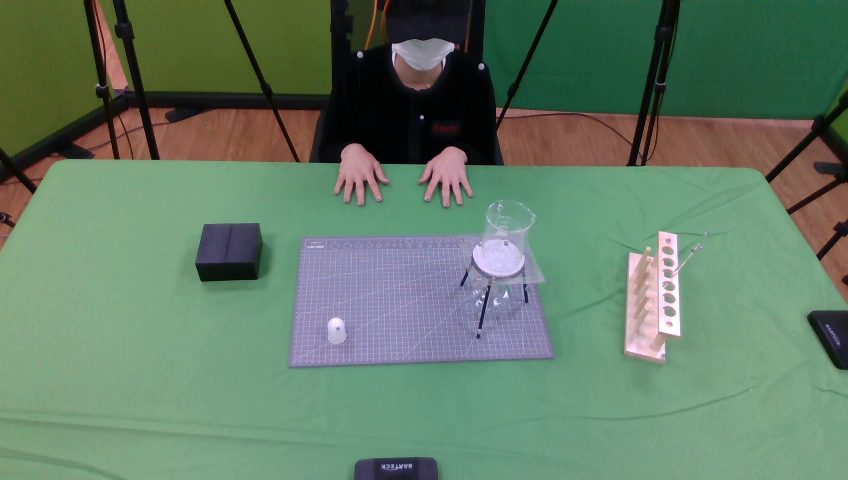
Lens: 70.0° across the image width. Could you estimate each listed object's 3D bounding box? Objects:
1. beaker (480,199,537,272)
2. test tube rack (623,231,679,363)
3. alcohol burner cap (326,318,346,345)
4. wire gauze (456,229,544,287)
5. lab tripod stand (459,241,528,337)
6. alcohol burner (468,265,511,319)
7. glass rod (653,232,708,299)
[{"bbox_3d":[0.132,-0.004,0.973,0.084,0.101,0.073,-4,47,-9],"label":"beaker"},{"bbox_3d":[0.410,0.094,1.096,0.066,0.085,0.241,13,46,9],"label":"test tube rack"},{"bbox_3d":[-0.149,0.151,1.023,0.034,0.048,0.033,2,46,-2],"label":"alcohol burner cap"},{"bbox_3d":[0.125,0.030,1.008,0.125,0.011,0.120,-3,48,-11],"label":"wire gauze"},{"bbox_3d":[0.122,0.075,1.054,0.148,0.132,0.147,3,44,-3],"label":"lab tripod stand"},{"bbox_3d":[0.117,0.083,1.060,0.078,0.119,0.077,3,48,-3],"label":"alcohol burner"},{"bbox_3d":[0.441,0.049,1.050,0.008,0.200,0.008,4,52,-5],"label":"glass rod"}]
